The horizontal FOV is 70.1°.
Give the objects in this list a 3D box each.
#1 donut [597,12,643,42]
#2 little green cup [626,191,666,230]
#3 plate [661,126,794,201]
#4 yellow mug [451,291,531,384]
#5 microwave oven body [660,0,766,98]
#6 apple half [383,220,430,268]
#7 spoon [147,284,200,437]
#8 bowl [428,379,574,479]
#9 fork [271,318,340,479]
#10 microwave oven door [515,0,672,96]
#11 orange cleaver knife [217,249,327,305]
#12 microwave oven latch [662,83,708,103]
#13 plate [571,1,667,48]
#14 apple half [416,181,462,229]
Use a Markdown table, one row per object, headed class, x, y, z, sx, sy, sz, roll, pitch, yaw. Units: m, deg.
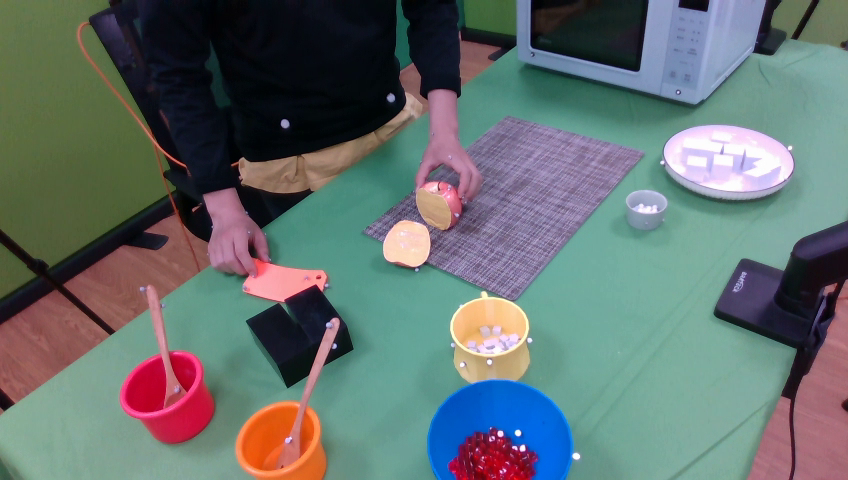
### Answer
| class | x | y | z | sx | sy | sz | roll | pitch | yaw |
| --- | --- | --- | --- | --- | --- | --- | --- | --- | --- |
| donut | 0.436 | -0.476 | 1.347 | 0.099 | 0.048 | 0.098 | -13 | 29 | 8 |
| little green cup | 0.352 | -0.046 | 0.963 | 0.061 | 0.039 | 0.061 | -4 | 40 | 4 |
| plate | 0.513 | -0.128 | 1.035 | 0.207 | 0.039 | 0.206 | -4 | 40 | 4 |
| yellow mug | 0.085 | 0.120 | 0.786 | 0.100 | 0.064 | 0.130 | -7 | 39 | 1 |
| microwave oven body | 0.472 | -0.513 | 1.317 | 0.438 | 0.261 | 0.327 | 26 | 51 | 34 |
| apple half | -0.022 | 0.009 | 0.948 | 0.081 | 0.033 | 0.081 | -4 | 72 | 13 |
| spoon | -0.318 | 0.148 | 0.754 | 0.042 | 0.021 | 0.193 | -15 | 86 | -7 |
| bowl | 0.082 | 0.233 | 0.644 | 0.151 | 0.077 | 0.150 | -4 | 39 | 4 |
| fork | -0.132 | 0.186 | 0.676 | 0.028 | 0.019 | 0.207 | 18 | 90 | 28 |
| microwave oven door | 0.344 | -0.455 | 1.260 | 0.353 | 0.245 | 0.039 | 26 | 51 | 33 |
| orange cleaver knife | -0.248 | 0.058 | 0.945 | 0.210 | 0.012 | 0.077 | 13 | 45 | 19 |
| microwave oven latch | 0.518 | -0.296 | 1.204 | 0.078 | 0.029 | 0.030 | 27 | 52 | 35 |
| plate | 0.438 | -0.484 | 1.369 | 0.209 | 0.038 | 0.208 | -4 | 42 | 4 |
| apple half | 0.032 | -0.062 | 0.998 | 0.080 | 0.075 | 0.053 | 23 | 46 | 38 |
